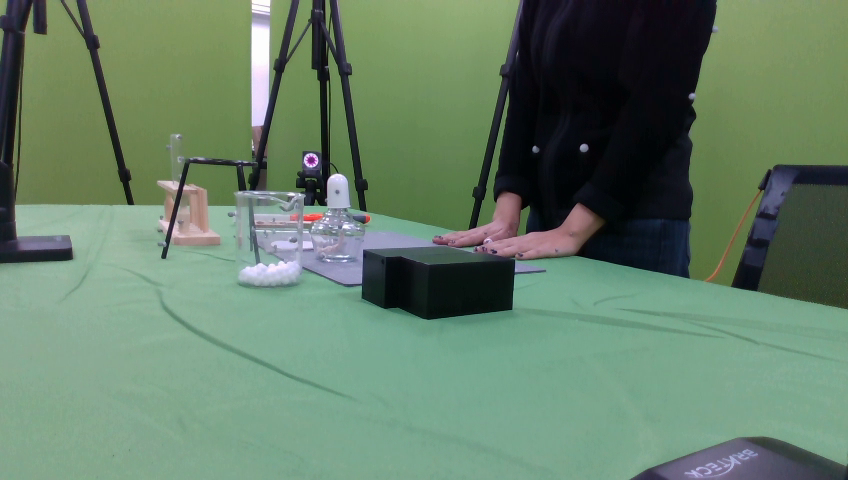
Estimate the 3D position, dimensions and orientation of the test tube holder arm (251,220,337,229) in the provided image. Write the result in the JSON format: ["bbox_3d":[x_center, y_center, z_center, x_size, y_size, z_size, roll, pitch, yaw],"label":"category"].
[{"bbox_3d":[-0.253,-0.030,1.155,0.179,0.015,0.013,0,40,-30],"label":"test tube holder arm"}]

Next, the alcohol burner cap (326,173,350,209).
[{"bbox_3d":[-0.116,-0.065,0.808,0.034,0.048,0.034,-3,10,1],"label":"alcohol burner cap"}]

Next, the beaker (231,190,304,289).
[{"bbox_3d":[-0.166,-0.001,0.653,0.074,0.100,0.083,-4,10,-40],"label":"beaker"}]

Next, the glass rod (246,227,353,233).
[{"bbox_3d":[-0.224,-0.017,1.109,0.201,0.008,0.008,1,7,-27],"label":"glass rod"}]

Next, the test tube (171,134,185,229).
[{"bbox_3d":[-0.390,-0.092,0.963,0.017,0.150,0.017,-1,4,0],"label":"test tube"}]

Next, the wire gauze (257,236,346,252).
[{"bbox_3d":[-0.189,0.005,0.931,0.122,0.011,0.124,1,7,-21],"label":"wire gauze"}]

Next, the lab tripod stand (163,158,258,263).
[{"bbox_3d":[-0.264,-0.041,0.802,0.148,0.131,0.148,4,7,0],"label":"lab tripod stand"}]

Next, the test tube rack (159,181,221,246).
[{"bbox_3d":[-0.395,-0.050,1.010,0.067,0.085,0.241,-2,8,-28],"label":"test tube rack"}]

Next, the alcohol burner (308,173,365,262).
[{"bbox_3d":[-0.117,-0.030,0.813,0.078,0.119,0.078,3,9,0],"label":"alcohol burner"}]

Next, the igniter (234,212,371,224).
[{"bbox_3d":[-0.245,-0.045,1.248,0.278,0.025,0.057,-1,-3,-25],"label":"igniter"}]

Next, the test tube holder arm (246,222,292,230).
[{"bbox_3d":[-0.290,-0.026,1.129,0.088,0.015,0.010,-1,40,-30],"label":"test tube holder arm"}]
